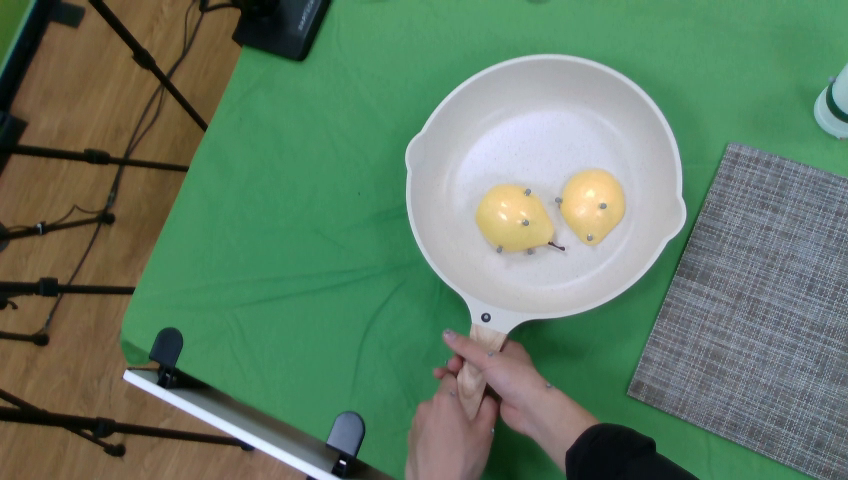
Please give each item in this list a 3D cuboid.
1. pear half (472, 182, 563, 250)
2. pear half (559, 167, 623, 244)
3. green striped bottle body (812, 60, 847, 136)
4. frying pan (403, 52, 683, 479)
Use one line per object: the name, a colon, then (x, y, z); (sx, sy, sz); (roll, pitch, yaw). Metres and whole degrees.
pear half: (0.109, -0.020, 0.683); (0.109, 0.056, 0.076); (29, 94, 14)
pear half: (0.186, -0.042, 0.678); (0.070, 0.031, 0.087); (0, 78, 19)
green striped bottle body: (0.436, -0.151, 0.594); (0.063, 0.120, 0.063); (-2, 79, 13)
frying pan: (0.087, 0.036, 0.655); (0.305, 0.103, 0.486); (18, 78, 17)
